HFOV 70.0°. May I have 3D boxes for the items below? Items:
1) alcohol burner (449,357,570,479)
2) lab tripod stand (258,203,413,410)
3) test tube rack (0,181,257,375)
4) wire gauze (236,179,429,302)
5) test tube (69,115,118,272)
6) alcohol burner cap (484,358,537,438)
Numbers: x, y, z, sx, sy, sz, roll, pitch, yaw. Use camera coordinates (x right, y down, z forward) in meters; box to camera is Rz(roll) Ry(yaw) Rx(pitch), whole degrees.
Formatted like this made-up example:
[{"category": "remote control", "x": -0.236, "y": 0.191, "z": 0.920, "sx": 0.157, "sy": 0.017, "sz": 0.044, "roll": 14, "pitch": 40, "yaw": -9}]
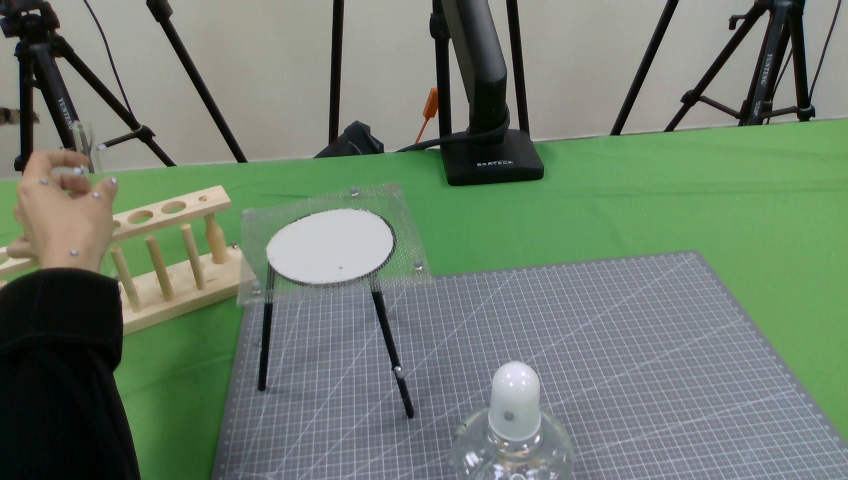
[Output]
[{"category": "alcohol burner", "x": 0.054, "y": 0.120, "z": 0.381, "sx": 0.078, "sy": 0.120, "sz": 0.077, "roll": -1, "pitch": 35, "yaw": 1}, {"category": "lab tripod stand", "x": -0.066, "y": 0.051, "z": 0.462, "sx": 0.148, "sy": 0.132, "sz": 0.147, "roll": -2, "pitch": 39, "yaw": 2}, {"category": "test tube rack", "x": -0.286, "y": 0.031, "z": 0.546, "sx": 0.243, "sy": 0.086, "sz": 0.066, "roll": -20, "pitch": 40, "yaw": -23}, {"category": "wire gauze", "x": -0.068, "y": -0.003, "z": 0.422, "sx": 0.125, "sy": 0.011, "sz": 0.120, "roll": -9, "pitch": 37, "yaw": -8}, {"category": "test tube", "x": -0.283, "y": -0.035, "z": 0.527, "sx": 0.017, "sy": 0.151, "sz": 0.017, "roll": 4, "pitch": 33, "yaw": -2}, {"category": "alcohol burner cap", "x": 0.052, "y": 0.091, "z": 0.359, "sx": 0.034, "sy": 0.048, "sz": 0.033, "roll": -2, "pitch": 39, "yaw": 2}]
